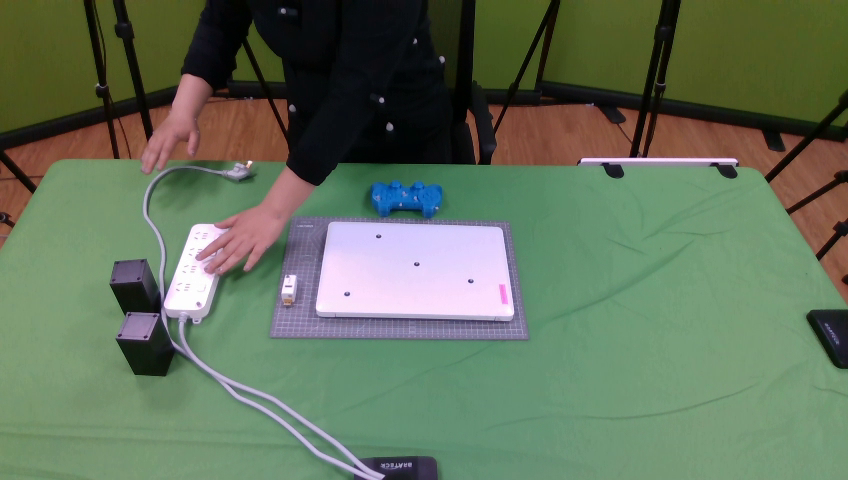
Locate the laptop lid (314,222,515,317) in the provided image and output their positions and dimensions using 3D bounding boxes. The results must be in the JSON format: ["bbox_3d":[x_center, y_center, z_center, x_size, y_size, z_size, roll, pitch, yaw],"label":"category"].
[{"bbox_3d":[-0.016,0.049,1.134,0.357,0.013,0.240,3,43,-2],"label":"laptop lid"}]

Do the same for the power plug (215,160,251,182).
[{"bbox_3d":[-0.409,-0.155,1.303,0.072,0.035,0.052,22,65,1],"label":"power plug"}]

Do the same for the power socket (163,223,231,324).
[{"bbox_3d":[-0.411,0.052,1.107,0.072,0.033,0.225,4,46,-3],"label":"power socket"}]

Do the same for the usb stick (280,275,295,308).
[{"bbox_3d":[-0.244,0.093,1.081,0.021,0.027,0.059,3,48,-5],"label":"usb stick"}]

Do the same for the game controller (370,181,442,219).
[{"bbox_3d":[-0.038,-0.092,1.268,0.155,0.052,0.096,2,51,-2],"label":"game controller"}]

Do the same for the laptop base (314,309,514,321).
[{"bbox_3d":[-0.017,0.059,1.141,0.354,0.023,0.234,2,42,-3],"label":"laptop base"}]
